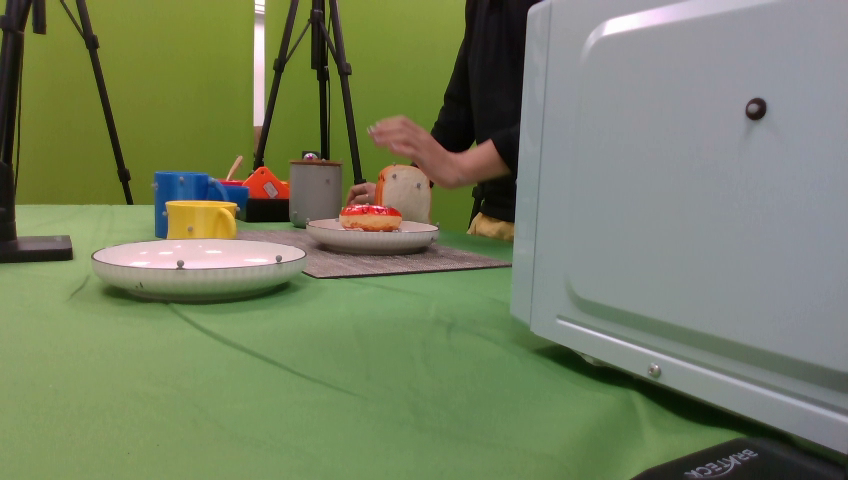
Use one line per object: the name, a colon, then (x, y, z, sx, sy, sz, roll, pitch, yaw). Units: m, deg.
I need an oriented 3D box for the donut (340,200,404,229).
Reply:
donut: (-0.081, -0.038, 0.944, 0.099, 0.048, 0.099, 2, 3, 0)

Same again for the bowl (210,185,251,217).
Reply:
bowl: (-0.408, -0.064, 1.155, 0.151, 0.077, 0.151, 2, 8, 0)

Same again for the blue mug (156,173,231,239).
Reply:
blue mug: (-0.381, -0.057, 1.004, 0.117, 0.106, 0.082, 0, 8, -12)

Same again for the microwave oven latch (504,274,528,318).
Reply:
microwave oven latch: (0.100, 0.041, 0.471, 0.079, 0.029, 0.030, -1, 8, -28)

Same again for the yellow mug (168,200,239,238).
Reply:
yellow mug: (-0.319, -0.023, 0.904, 0.130, 0.064, 0.100, 9, 11, 36)

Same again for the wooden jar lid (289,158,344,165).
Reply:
wooden jar lid: (-0.215, -0.153, 1.212, 0.108, 0.020, 0.108, 2, 5, 0)

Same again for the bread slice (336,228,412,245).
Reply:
bread slice: (-0.074, -0.007, 0.938, 0.105, 0.019, 0.131, -2, 6, -18)

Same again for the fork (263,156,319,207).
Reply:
fork: (-0.331, -0.144, 1.505, 0.207, 0.018, 0.028, -42, -21, 22)

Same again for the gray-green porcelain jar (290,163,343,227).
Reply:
gray-green porcelain jar: (-0.217, -0.091, 1.221, 0.106, 0.126, 0.106, 2, 7, 0)

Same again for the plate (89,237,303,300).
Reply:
plate: (-0.233, 0.029, 0.637, 0.208, 0.039, 0.207, 2, 7, 0)

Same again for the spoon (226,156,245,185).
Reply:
spoon: (-0.477, -0.145, 1.492, 0.041, 0.022, 0.193, -1, 51, 13)

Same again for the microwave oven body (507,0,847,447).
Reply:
microwave oven body: (0.331, -0.042, 0.425, 0.444, 0.260, 0.324, -2, 8, -31)

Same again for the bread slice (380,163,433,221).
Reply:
bread slice: (-0.035, -0.076, 1.124, 0.107, 0.134, 0.018, -3, 1, -25)

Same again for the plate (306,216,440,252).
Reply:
plate: (-0.079, -0.011, 0.950, 0.209, 0.038, 0.209, 2, 8, 0)

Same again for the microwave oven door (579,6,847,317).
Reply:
microwave oven door: (0.294, -0.067, 0.570, 0.358, 0.243, 0.039, -3, 9, -31)

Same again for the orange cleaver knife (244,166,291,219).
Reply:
orange cleaver knife: (-0.301, -0.089, 1.351, 0.212, 0.077, 0.012, 32, -11, -34)
